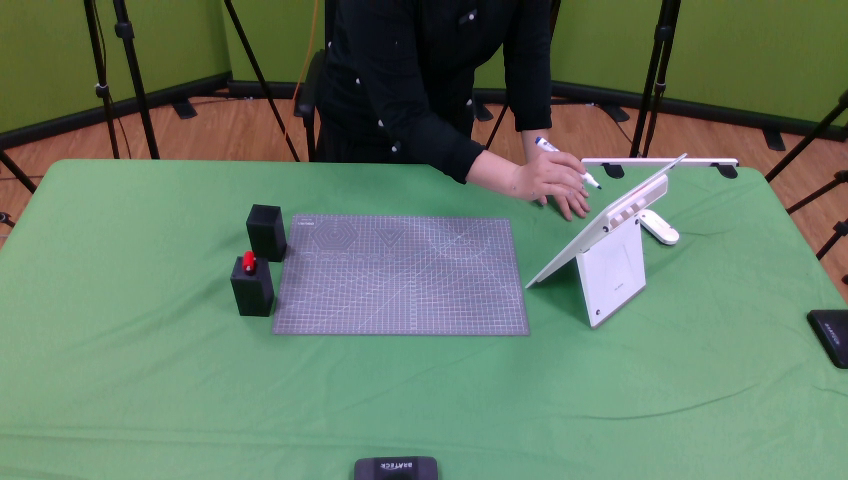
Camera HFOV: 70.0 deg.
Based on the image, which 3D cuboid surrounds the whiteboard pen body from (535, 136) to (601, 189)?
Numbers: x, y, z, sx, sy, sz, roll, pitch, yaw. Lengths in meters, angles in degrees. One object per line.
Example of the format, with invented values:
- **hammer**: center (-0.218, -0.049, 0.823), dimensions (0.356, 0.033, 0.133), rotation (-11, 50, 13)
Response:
- **whiteboard pen body**: center (0.248, -0.131, 1.040), dimensions (0.140, 0.017, 0.017), rotation (39, 52, 5)

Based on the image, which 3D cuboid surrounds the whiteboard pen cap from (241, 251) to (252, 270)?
- **whiteboard pen cap**: center (-0.294, 0.033, 1.006), dimensions (0.017, 0.017, 0.032), rotation (-3, 44, -7)

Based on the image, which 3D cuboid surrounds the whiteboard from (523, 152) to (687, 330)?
- **whiteboard**: center (0.347, 0.025, 1.046), dimensions (0.217, 0.306, 0.143), rotation (-30, 74, -29)

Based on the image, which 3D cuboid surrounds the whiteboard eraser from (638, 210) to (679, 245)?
- **whiteboard eraser**: center (0.485, -0.026, 1.260), dimensions (0.041, 0.019, 0.100), rotation (-21, 50, -21)
